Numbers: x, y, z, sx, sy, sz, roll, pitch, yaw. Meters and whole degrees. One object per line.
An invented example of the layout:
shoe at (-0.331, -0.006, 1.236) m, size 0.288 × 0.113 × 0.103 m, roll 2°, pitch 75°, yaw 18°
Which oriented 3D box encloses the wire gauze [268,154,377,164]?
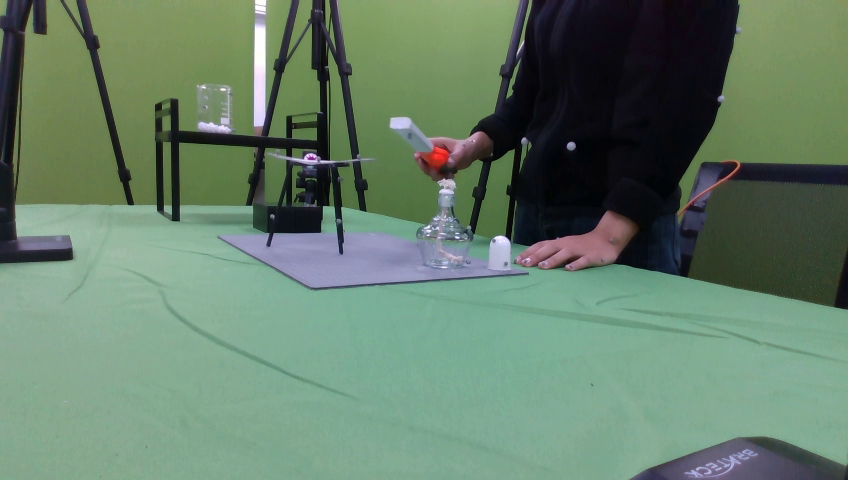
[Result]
wire gauze at (-0.154, -0.120, 0.910) m, size 0.122 × 0.011 × 0.124 m, roll -5°, pitch 11°, yaw -44°

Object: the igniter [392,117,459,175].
igniter at (0.008, -0.153, 1.022) m, size 0.057 × 0.025 × 0.277 m, roll 4°, pitch -7°, yaw 18°

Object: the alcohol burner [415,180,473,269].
alcohol burner at (0.028, -0.021, 0.807) m, size 0.078 × 0.119 × 0.078 m, roll 4°, pitch 5°, yaw 0°

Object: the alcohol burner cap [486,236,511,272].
alcohol burner cap at (0.101, 0.019, 0.802) m, size 0.034 × 0.048 × 0.034 m, roll 3°, pitch 7°, yaw 0°

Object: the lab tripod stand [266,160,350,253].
lab tripod stand at (-0.163, -0.054, 0.915) m, size 0.148 × 0.131 × 0.148 m, roll 2°, pitch 9°, yaw 0°

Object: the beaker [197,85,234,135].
beaker at (-0.444, -0.275, 1.283) m, size 0.074 × 0.100 × 0.084 m, roll 5°, pitch 8°, yaw 22°
